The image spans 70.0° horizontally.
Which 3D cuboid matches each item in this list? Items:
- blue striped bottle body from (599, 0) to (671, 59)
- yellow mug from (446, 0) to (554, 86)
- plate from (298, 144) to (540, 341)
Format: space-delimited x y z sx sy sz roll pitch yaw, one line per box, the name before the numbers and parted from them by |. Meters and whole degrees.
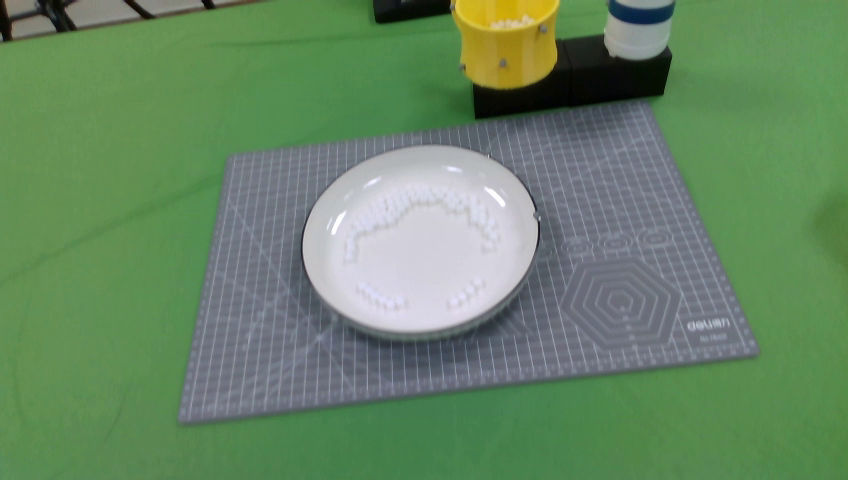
blue striped bottle body | 0.204 -0.240 0.573 0.063 0.122 0.062 -4 52 6
yellow mug | 0.068 -0.218 0.611 0.100 0.064 0.129 -39 56 -21
plate | -0.004 0.000 0.530 0.207 0.039 0.205 -4 52 5
